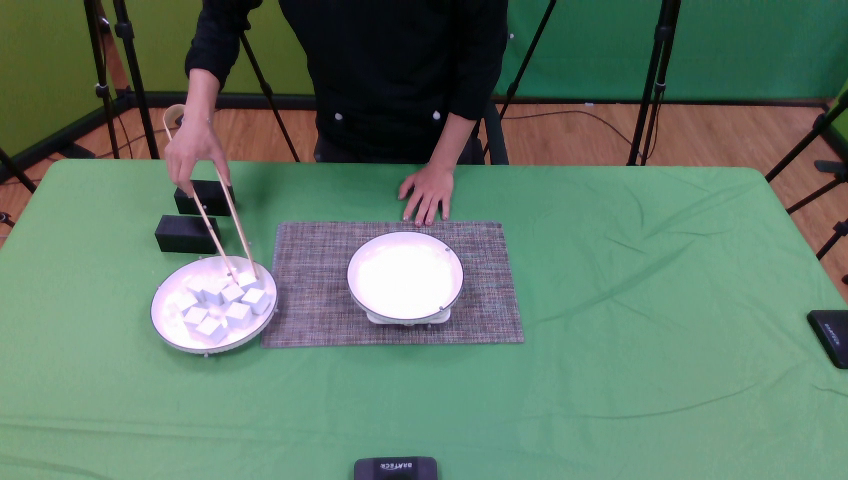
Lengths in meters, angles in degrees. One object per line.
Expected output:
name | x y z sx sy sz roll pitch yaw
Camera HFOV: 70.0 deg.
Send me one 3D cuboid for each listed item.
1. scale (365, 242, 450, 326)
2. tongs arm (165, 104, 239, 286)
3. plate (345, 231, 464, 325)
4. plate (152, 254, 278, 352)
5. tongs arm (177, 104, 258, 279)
scale | -0.032 0.071 1.113 0.149 0.032 0.199 0 46 -4
tongs arm | -0.405 -0.089 1.126 0.051 0.026 0.383 -28 74 -12
plate | -0.034 0.069 1.069 0.209 0.038 0.208 2 46 -2
plate | -0.357 0.111 1.052 0.208 0.039 0.206 2 46 -2
tongs arm | -0.384 -0.098 1.131 0.028 0.028 0.386 -24 74 -8
